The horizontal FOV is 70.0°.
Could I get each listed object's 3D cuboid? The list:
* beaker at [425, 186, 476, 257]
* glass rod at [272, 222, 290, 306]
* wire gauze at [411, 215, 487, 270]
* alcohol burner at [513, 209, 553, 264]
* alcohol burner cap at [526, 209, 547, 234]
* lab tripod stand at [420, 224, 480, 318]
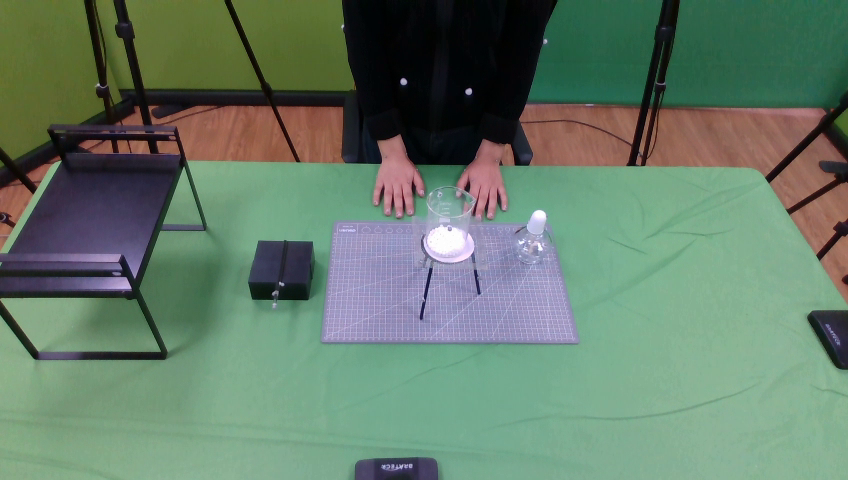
[{"bbox_3d":[0.041,-0.028,0.989,0.084,0.101,0.073,-12,48,-15],"label":"beaker"},{"bbox_3d":[-0.255,0.039,1.084,0.008,0.008,0.198,1,46,-3],"label":"glass rod"},{"bbox_3d":[0.041,0.003,1.026,0.125,0.011,0.120,0,46,-1],"label":"wire gauze"},{"bbox_3d":[0.210,-0.012,1.158,0.078,0.120,0.077,1,44,-1],"label":"alcohol burner"},{"bbox_3d":[0.212,-0.037,1.133,0.034,0.048,0.033,4,51,-5],"label":"alcohol burner cap"},{"bbox_3d":[0.034,0.051,1.070,0.148,0.132,0.147,3,48,-3],"label":"lab tripod stand"}]
